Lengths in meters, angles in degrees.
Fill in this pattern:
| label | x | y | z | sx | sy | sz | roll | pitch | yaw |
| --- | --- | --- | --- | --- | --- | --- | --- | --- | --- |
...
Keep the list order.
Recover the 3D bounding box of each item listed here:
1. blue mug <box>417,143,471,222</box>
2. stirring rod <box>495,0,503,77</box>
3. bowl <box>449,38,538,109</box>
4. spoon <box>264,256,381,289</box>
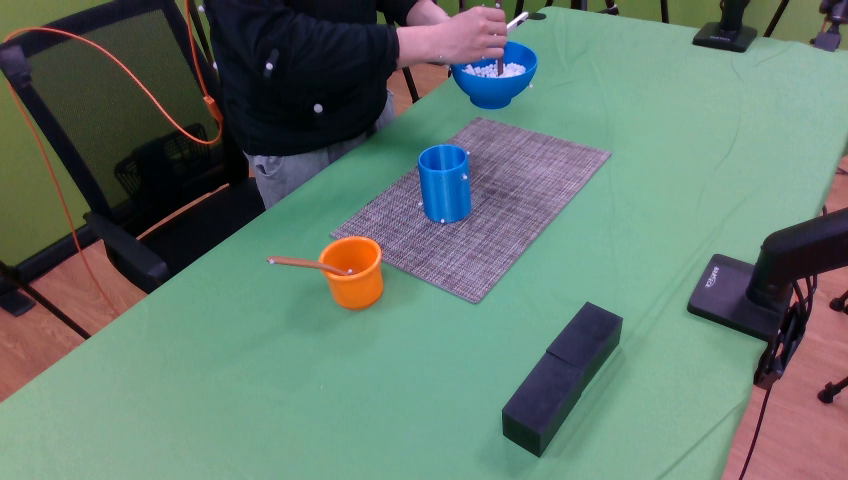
| label | x | y | z | sx | sy | sz | roll | pitch | yaw |
| --- | --- | --- | --- | --- | --- | --- | --- | --- | --- |
| blue mug | 0.031 | -0.104 | 1.014 | 0.082 | 0.106 | 0.115 | -14 | 41 | -7 |
| stirring rod | 0.125 | -0.352 | 1.004 | 0.006 | 0.177 | 0.014 | 19 | 48 | 27 |
| bowl | 0.118 | -0.279 | 1.041 | 0.151 | 0.077 | 0.150 | 0 | 42 | 0 |
| spoon | -0.136 | 0.042 | 0.842 | 0.021 | 0.195 | 0.041 | -56 | 46 | 13 |
